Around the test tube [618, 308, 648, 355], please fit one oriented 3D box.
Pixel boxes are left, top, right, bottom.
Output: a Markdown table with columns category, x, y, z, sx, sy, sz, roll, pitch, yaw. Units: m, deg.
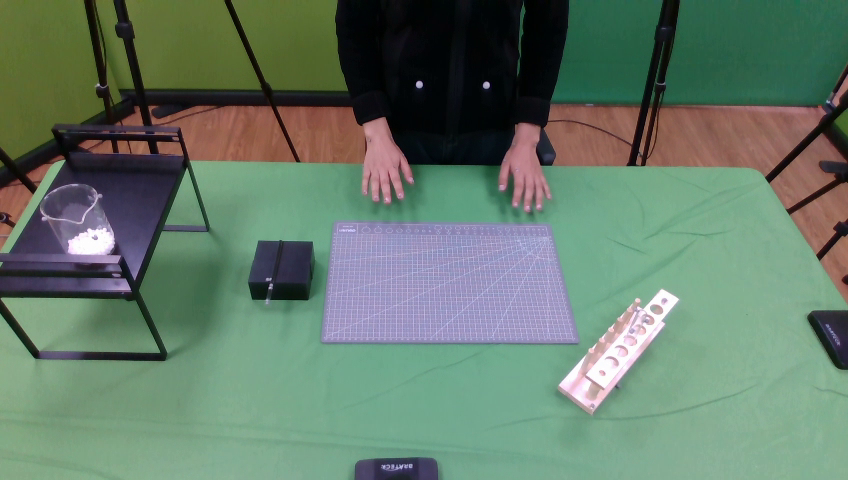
| category | x | y | z | sx | sy | sz | roll | pitch | yaw |
| --- | --- | --- | --- | --- | --- | --- | --- | --- | --- |
| test tube | 0.326 | 0.154 | 0.956 | 0.017 | 0.151 | 0.017 | -1 | 50 | 1 |

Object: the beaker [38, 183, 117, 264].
| category | x | y | z | sx | sy | sz | roll | pitch | yaw |
| --- | --- | --- | --- | --- | --- | --- | --- | --- | --- |
| beaker | -0.494 | -0.019 | 0.874 | 0.074 | 0.101 | 0.083 | -29 | 55 | -27 |

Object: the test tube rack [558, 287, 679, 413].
| category | x | y | z | sx | sy | sz | roll | pitch | yaw |
| --- | --- | --- | --- | --- | --- | --- | --- | --- | --- |
| test tube rack | 0.326 | 0.170 | 1.009 | 0.066 | 0.085 | 0.242 | 36 | 54 | 26 |

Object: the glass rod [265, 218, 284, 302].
| category | x | y | z | sx | sy | sz | roll | pitch | yaw |
| --- | --- | --- | --- | --- | --- | --- | --- | --- | --- |
| glass rod | -0.267 | 0.031 | 1.084 | 0.008 | 0.008 | 0.198 | 1 | 47 | -3 |
